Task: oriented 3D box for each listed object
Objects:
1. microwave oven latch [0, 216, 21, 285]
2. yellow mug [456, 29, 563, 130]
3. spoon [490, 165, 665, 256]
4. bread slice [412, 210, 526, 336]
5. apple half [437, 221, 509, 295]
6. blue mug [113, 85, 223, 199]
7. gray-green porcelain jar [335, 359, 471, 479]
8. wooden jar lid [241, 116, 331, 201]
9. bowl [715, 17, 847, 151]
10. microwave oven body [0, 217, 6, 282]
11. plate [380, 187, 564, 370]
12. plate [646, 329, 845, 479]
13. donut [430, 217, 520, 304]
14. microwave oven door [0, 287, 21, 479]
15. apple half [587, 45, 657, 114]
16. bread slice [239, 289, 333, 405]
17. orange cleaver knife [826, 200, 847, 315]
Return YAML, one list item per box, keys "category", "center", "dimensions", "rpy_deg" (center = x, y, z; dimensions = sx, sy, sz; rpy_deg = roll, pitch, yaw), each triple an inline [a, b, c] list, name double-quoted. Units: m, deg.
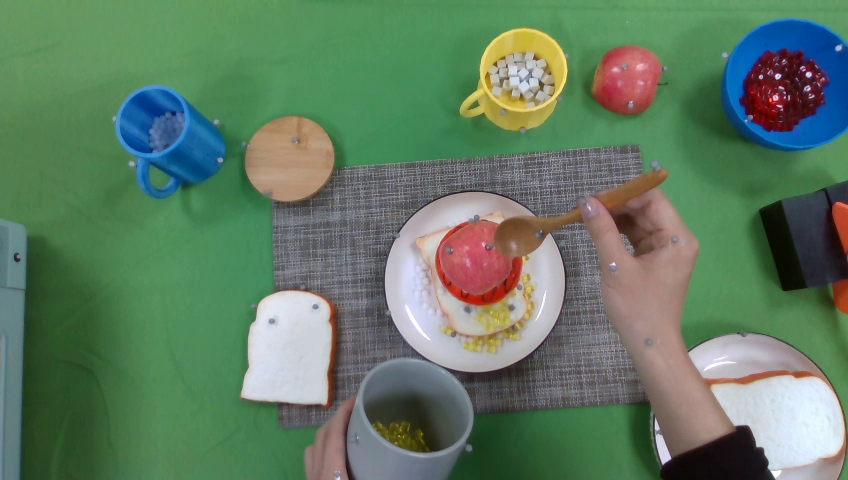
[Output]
- category: "microwave oven latch"
  center: [-0.492, 0.013, 0.705]
  dimensions: [0.030, 0.029, 0.079]
  rpy_deg: [-1, 82, 2]
- category: "yellow mug"
  center: [0.096, -0.181, 0.718]
  dimensions: [0.131, 0.064, 0.099]
  rpy_deg: [-28, 81, -1]
- category: "spoon"
  center: [0.120, -0.021, 0.505]
  dimensions: [0.042, 0.193, 0.021]
  rpy_deg: [50, 59, -9]
- category: "bread slice"
  center: [0.059, 0.042, 0.698]
  dimensions: [0.107, 0.018, 0.133]
  rpy_deg: [-21, 81, 0]
- category: "apple half"
  center: [0.052, 0.017, 0.635]
  dimensions: [0.081, 0.033, 0.081]
  rpy_deg: [-2, 79, 9]
- category: "blue mug"
  center: [-0.297, -0.104, 0.700]
  dimensions: [0.082, 0.106, 0.116]
  rpy_deg: [16, 82, 5]
- category: "gray-green porcelain jar"
  center: [-0.025, 0.192, 0.567]
  dimensions: [0.105, 0.105, 0.127]
  rpy_deg: [24, 126, 6]
- category: "wooden jar lid"
  center: [-0.165, -0.097, 0.735]
  dimensions: [0.108, 0.021, 0.108]
  rpy_deg: [-1, 79, 3]
- category: "bowl"
  center: [0.402, -0.167, 0.698]
  dimensions: [0.151, 0.077, 0.151]
  rpy_deg: [0, 82, 3]
- category: "microwave oven body"
  center: [-0.632, 0.183, 0.588]
  dimensions: [0.326, 0.261, 0.440]
  rpy_deg: [-4, 82, 1]
- category: "plate"
  center: [0.054, 0.044, 0.696]
  dimensions: [0.207, 0.039, 0.207]
  rpy_deg: [0, 82, 2]
- category: "plate"
  center: [0.346, 0.203, 0.666]
  dimensions: [0.209, 0.038, 0.208]
  rpy_deg: [0, 82, 2]
- category: "donut"
  center: [0.057, 0.023, 0.671]
  dimensions: [0.099, 0.048, 0.098]
  rpy_deg: [0, 82, 3]
- category: "microwave oven door"
  center: [-0.484, 0.214, 0.573]
  dimensions: [0.039, 0.244, 0.354]
  rpy_deg: [-4, 81, 2]
- category: "apple half"
  center: [0.238, -0.197, 0.721]
  dimensions: [0.074, 0.053, 0.080]
  rpy_deg: [18, 83, 7]
- category: "bread slice"
  center: [-0.158, 0.122, 0.704]
  dimensions: [0.105, 0.019, 0.131]
  rpy_deg: [3, 83, 2]
- category: "orange cleaver knife"
  center: [0.472, 0.061, 0.660]
  dimensions: [0.012, 0.077, 0.212]
  rpy_deg: [-15, 103, -7]
